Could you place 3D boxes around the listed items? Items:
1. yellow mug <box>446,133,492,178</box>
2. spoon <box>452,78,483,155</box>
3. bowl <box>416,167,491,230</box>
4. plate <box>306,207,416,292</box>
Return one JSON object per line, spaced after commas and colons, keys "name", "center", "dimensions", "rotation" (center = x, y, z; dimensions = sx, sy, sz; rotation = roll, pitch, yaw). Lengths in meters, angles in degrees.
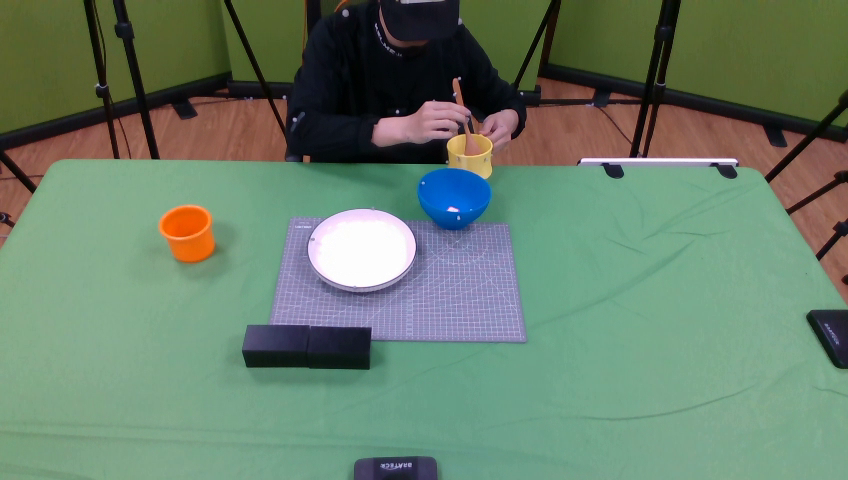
{"name": "yellow mug", "center": [0.105, -0.189, 1.324], "dimensions": [0.099, 0.064, 0.130], "rotation": [15, 41, 22]}
{"name": "spoon", "center": [0.084, -0.239, 1.243], "dimensions": [0.041, 0.194, 0.021], "rotation": [-16, 25, 5]}
{"name": "bowl", "center": [0.057, -0.074, 1.231], "dimensions": [0.151, 0.077, 0.150], "rotation": [2, 42, -2]}
{"name": "plate", "center": [-0.119, 0.021, 1.153], "dimensions": [0.209, 0.038, 0.208], "rotation": [2, 46, -2]}
